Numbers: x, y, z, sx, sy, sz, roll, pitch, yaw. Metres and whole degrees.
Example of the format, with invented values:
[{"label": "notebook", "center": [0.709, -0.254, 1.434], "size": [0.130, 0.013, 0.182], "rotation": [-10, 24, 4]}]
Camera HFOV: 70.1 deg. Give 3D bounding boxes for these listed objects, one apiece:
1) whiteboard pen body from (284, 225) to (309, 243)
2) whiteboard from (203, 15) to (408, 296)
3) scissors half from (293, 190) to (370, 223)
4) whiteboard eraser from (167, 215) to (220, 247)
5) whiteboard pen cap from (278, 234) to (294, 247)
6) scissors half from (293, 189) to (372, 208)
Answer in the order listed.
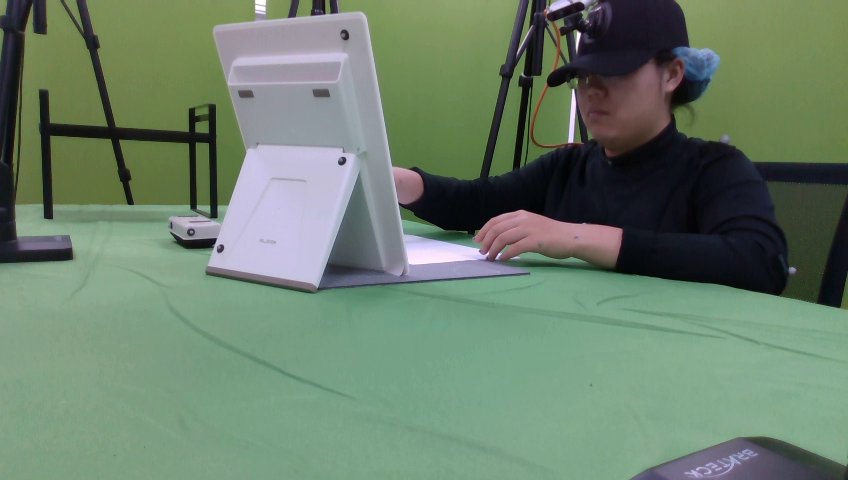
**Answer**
[{"label": "whiteboard pen body", "center": [-0.208, -0.008, 0.985], "size": [0.017, 0.017, 0.140], "rotation": [3, 9, 1]}, {"label": "whiteboard", "center": [-0.166, -0.072, 0.669], "size": [0.216, 0.305, 0.144], "rotation": [8, 30, 30]}, {"label": "scissors half", "center": [-0.205, -0.078, 1.338], "size": [0.175, 0.040, 0.013], "rotation": [22, 11, -8]}, {"label": "whiteboard eraser", "center": [-0.350, -0.014, 0.920], "size": [0.056, 0.042, 0.112], "rotation": [0, 7, -35]}, {"label": "whiteboard pen cap", "center": [-0.211, 0.001, 0.927], "size": [0.018, 0.018, 0.033], "rotation": [3, 8, 4]}, {"label": "scissors half", "center": [-0.201, -0.096, 1.333], "size": [0.175, 0.040, 0.013], "rotation": [5, 18, -4]}]
